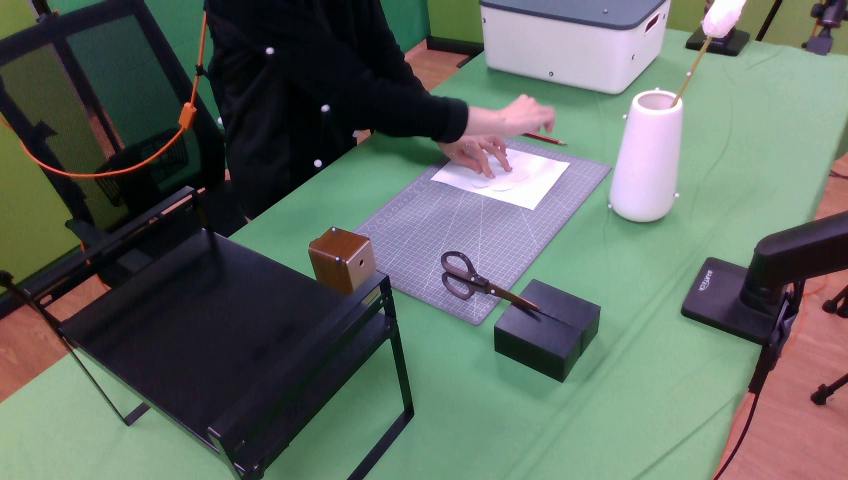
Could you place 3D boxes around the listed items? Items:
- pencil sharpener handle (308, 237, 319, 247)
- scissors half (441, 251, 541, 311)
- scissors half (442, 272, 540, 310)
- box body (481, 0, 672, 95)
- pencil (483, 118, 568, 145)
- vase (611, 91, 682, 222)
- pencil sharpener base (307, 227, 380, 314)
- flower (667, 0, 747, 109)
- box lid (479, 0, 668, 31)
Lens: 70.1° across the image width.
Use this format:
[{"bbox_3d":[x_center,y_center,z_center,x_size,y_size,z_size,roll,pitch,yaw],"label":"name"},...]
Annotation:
[{"bbox_3d":[-0.159,0.017,0.892,0.030,0.068,0.036,18,61,28],"label":"pencil sharpener handle"},{"bbox_3d":[0.087,0.056,0.824,0.173,0.040,0.013,29,44,36],"label":"scissors half"},{"bbox_3d":[0.089,0.074,0.832,0.013,0.040,0.173,-24,23,-38],"label":"scissors half"},{"bbox_3d":[0.341,-0.480,1.381,0.361,0.161,0.255,22,48,30],"label":"box body"},{"bbox_3d":[0.201,-0.217,1.211,0.192,0.012,0.012,24,49,30],"label":"pencil"},{"bbox_3d":[0.348,-0.125,0.935,0.098,0.201,0.097,-3,40,3],"label":"vase"},{"bbox_3d":[-0.116,0.043,0.875,0.076,0.107,0.061,18,47,27],"label":"pencil sharpener base"},{"bbox_3d":[0.354,-0.187,0.879,0.038,0.362,0.044,31,48,14],"label":"flower"},{"bbox_3d":[0.335,-0.536,1.331,0.368,0.015,0.264,23,49,30],"label":"box lid"}]
